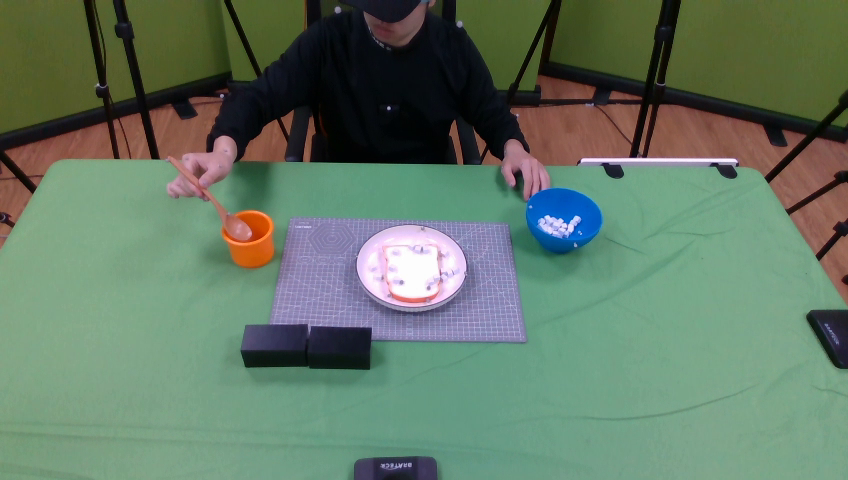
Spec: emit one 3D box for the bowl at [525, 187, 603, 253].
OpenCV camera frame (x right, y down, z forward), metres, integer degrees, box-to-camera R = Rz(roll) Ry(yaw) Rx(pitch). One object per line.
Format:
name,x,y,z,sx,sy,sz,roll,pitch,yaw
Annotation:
bowl,0.271,-0.028,1.206,0.151,0.077,0.150,2,46,-2

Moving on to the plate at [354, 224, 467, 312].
plate,-0.025,0.055,1.128,0.209,0.038,0.208,3,46,-3

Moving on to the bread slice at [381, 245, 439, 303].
bread slice,-0.022,0.061,1.126,0.107,0.018,0.133,-3,45,-8

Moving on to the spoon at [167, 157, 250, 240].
spoon,-0.379,-0.073,1.073,0.021,0.194,0.041,-18,29,34
